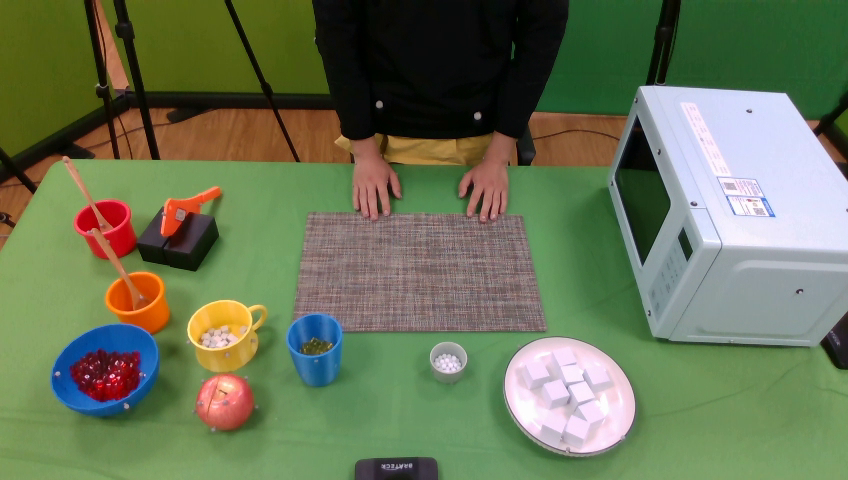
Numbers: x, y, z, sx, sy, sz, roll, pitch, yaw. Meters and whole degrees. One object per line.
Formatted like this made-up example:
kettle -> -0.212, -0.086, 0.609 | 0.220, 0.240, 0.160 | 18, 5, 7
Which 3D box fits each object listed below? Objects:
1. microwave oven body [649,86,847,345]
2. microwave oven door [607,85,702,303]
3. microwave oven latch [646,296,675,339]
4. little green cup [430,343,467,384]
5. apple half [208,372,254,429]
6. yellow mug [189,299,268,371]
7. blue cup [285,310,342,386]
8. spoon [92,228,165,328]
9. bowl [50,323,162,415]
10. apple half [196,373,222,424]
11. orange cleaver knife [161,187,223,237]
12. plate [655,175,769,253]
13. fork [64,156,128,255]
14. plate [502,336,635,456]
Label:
microwave oven body -> 0.568, -0.053, 1.118 | 0.326, 0.261, 0.439 | 2, 45, -1
microwave oven door -> 0.423, -0.094, 1.141 | 0.039, 0.245, 0.353 | 2, 46, -1
microwave oven latch -> 0.412, 0.134, 1.061 | 0.030, 0.029, 0.078 | 4, 45, 1
little green cup -> 0.039, 0.203, 0.994 | 0.061, 0.039, 0.061 | 2, 46, -2
apple half -> -0.283, 0.244, 0.908 | 0.053, 0.075, 0.080 | 7, 42, -1
yellow mug -> -0.316, 0.148, 1.002 | 0.131, 0.064, 0.099 | -32, 56, -32
blue cup -> -0.170, 0.179, 0.958 | 0.093, 0.101, 0.092 | 1, 44, -1
spoon -> -0.495, 0.063, 1.014 | 0.041, 0.194, 0.021 | -34, 12, -31
bowl -> -0.472, 0.209, 0.924 | 0.151, 0.077, 0.150 | 3, 45, -2
apple half -> -0.322, 0.239, 0.907 | 0.033, 0.081, 0.081 | 7, 46, -1
orange cleaver knife -> -0.448, -0.058, 1.180 | 0.012, 0.077, 0.211 | 13, 17, 6
plate -> 0.555, -0.047, 1.183 | 0.209, 0.038, 0.208 | 2, 46, -1
fork -> -0.614, -0.064, 1.130 | 0.028, 0.018, 0.207 | -29, 97, -16
plate -> 0.225, 0.248, 0.963 | 0.208, 0.039, 0.206 | 2, 46, -2
